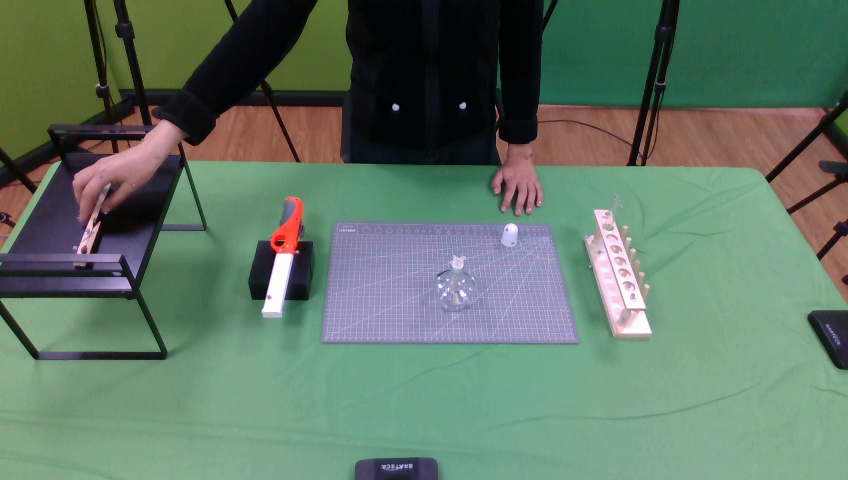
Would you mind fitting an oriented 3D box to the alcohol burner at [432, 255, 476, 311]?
[{"bbox_3d":[0.055,0.070,1.068,0.078,0.119,0.077,3,45,-3],"label":"alcohol burner"}]

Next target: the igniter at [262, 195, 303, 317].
[{"bbox_3d":[-0.252,0.019,1.089,0.057,0.025,0.275,0,49,-1],"label":"igniter"}]

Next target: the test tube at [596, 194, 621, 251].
[{"bbox_3d":[0.346,-0.029,1.141,0.017,0.151,0.017,0,50,0],"label":"test tube"}]

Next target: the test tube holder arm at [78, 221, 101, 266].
[{"bbox_3d":[-0.502,0.004,0.910,0.010,0.015,0.087,27,34,-32],"label":"test tube holder arm"}]

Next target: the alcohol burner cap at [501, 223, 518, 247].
[{"bbox_3d":[0.172,-0.013,1.207,0.034,0.048,0.033,1,45,-1],"label":"alcohol burner cap"}]

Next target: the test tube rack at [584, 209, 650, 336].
[{"bbox_3d":[0.365,0.056,1.129,0.067,0.085,0.240,1,46,-3],"label":"test tube rack"}]

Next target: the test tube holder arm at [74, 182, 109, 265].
[{"bbox_3d":[-0.513,-0.030,0.938,0.013,0.015,0.177,26,35,-34],"label":"test tube holder arm"}]
